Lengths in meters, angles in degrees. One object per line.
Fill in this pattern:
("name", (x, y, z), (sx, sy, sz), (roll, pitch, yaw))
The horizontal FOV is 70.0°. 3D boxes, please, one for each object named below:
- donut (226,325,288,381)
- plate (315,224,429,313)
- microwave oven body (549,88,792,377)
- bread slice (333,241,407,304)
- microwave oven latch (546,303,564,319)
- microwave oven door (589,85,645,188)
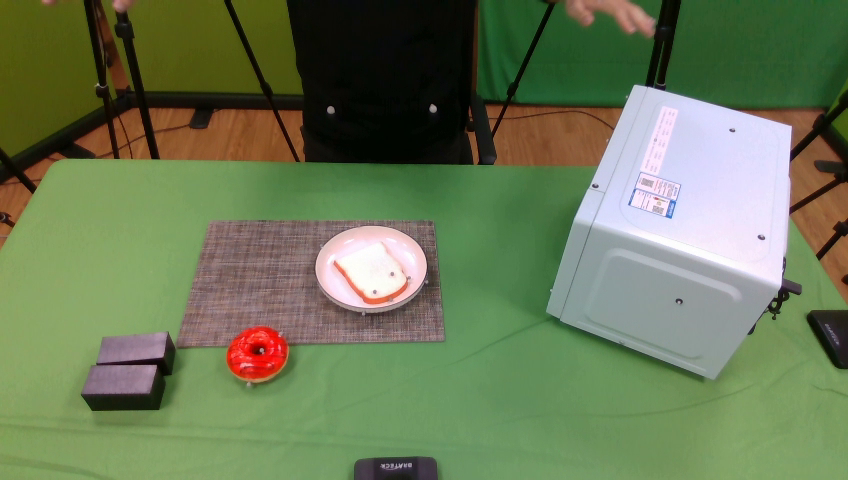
("donut", (-0.270, 0.182, 0.984), (0.099, 0.048, 0.098), (5, 49, -5))
("plate", (-0.096, 0.055, 1.121), (0.208, 0.039, 0.206), (2, 46, -2))
("microwave oven body", (0.456, -0.028, 1.088), (0.325, 0.261, 0.440), (20, 47, 16))
("bread slice", (-0.092, 0.060, 1.117), (0.105, 0.019, 0.130), (-24, 52, -24))
("microwave oven latch", (0.242, 0.102, 1.081), (0.030, 0.029, 0.079), (22, 48, 17))
("microwave oven door", (0.342, -0.107, 1.149), (0.039, 0.245, 0.354), (20, 48, 15))
